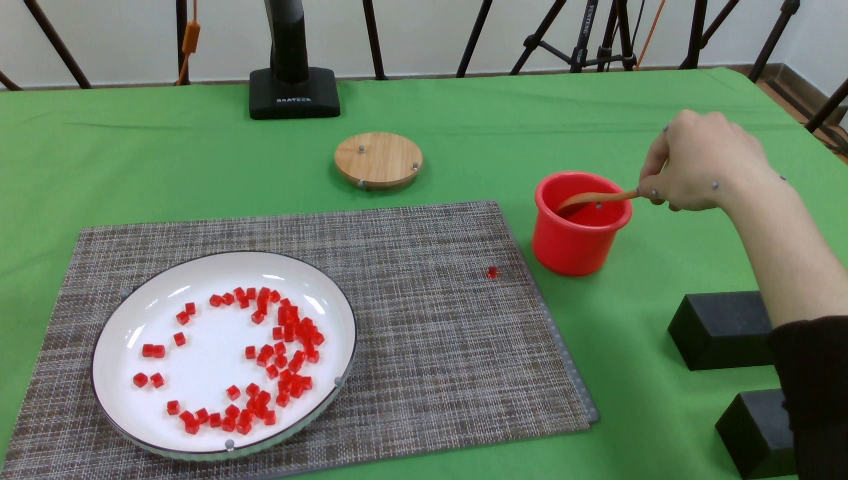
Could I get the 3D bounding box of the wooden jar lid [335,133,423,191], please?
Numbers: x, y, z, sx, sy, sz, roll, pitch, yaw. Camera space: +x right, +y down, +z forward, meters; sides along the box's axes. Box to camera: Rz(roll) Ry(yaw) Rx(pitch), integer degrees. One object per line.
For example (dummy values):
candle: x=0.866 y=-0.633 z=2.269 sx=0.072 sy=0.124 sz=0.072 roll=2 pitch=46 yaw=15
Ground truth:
wooden jar lid: x=-0.055 y=-0.096 z=0.745 sx=0.108 sy=0.021 sz=0.107 roll=4 pitch=43 yaw=-3

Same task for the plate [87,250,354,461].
plate: x=-0.163 y=0.093 z=0.509 sx=0.208 sy=0.039 sz=0.205 roll=4 pitch=42 yaw=-3

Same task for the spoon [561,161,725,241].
spoon: x=0.199 y=-0.039 z=0.582 sx=0.022 sy=0.193 sz=0.041 roll=-1 pitch=75 yaw=-36
